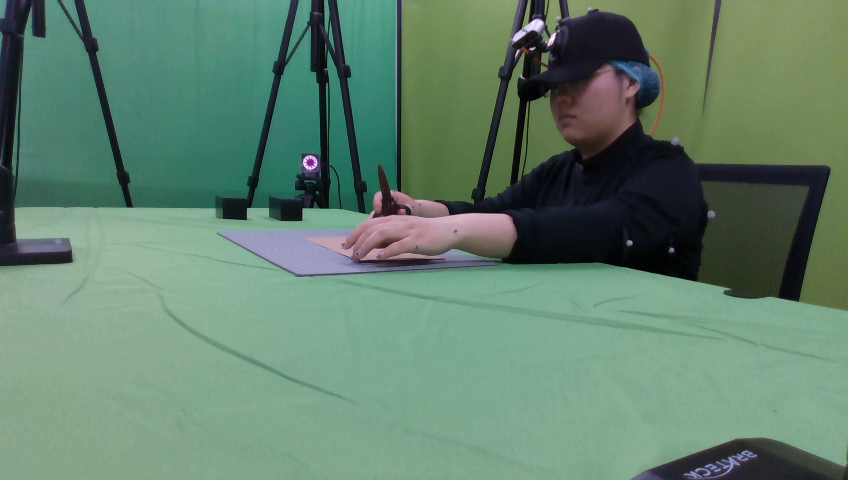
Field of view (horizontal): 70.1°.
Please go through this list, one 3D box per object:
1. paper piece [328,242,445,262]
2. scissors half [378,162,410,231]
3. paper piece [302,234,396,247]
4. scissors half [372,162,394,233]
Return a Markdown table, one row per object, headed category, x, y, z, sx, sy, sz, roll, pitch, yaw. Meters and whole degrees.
| category | x | y | z | sx | sy | sz | roll | pitch | yaw |
| --- | --- | --- | --- | --- | --- | --- | --- | --- | --- |
| paper piece | -0.059 | 0.018 | 0.909 | 0.137 | 0.008 | 0.137 | -5 | 10 | -27 |
| scissors half | -0.057 | -0.076 | 1.076 | 0.040 | 0.175 | 0.013 | -21 | 51 | 0 |
| paper piece | -0.123 | 0.001 | 1.025 | 0.136 | 0.004 | 0.135 | -2 | 8 | -28 |
| scissors half | -0.076 | -0.072 | 1.074 | 0.040 | 0.175 | 0.012 | -8 | 49 | -7 |
